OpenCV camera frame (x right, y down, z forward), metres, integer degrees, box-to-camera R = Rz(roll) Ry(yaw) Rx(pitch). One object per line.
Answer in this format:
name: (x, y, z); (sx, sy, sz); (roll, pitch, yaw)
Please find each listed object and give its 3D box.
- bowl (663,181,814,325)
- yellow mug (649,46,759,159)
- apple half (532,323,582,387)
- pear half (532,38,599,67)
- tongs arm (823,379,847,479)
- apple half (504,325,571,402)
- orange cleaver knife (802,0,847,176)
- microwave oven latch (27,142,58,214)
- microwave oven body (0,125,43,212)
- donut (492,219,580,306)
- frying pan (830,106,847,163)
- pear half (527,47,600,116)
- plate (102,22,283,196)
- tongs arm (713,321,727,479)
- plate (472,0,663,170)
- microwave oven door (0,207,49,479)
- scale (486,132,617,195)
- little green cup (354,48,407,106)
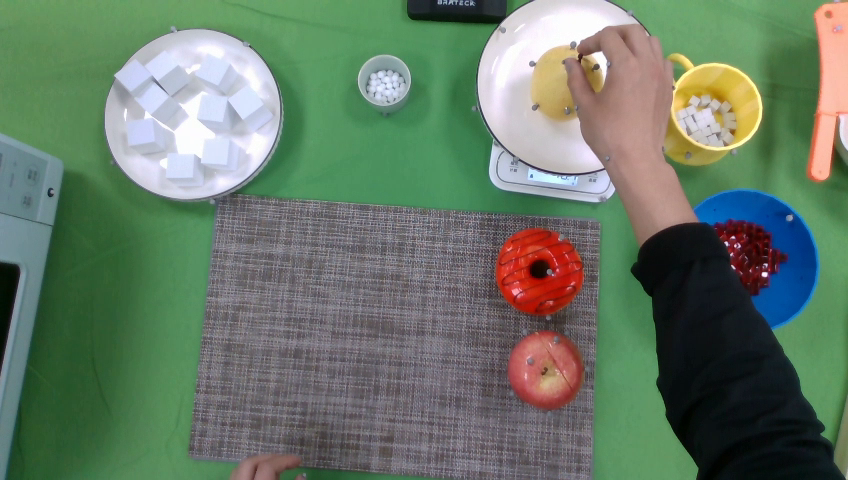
bowl: (0.327, 0.017, 0.661); (0.151, 0.077, 0.151); (0, 84, 2)
yellow mug: (0.306, -0.162, 0.687); (0.100, 0.064, 0.130); (-28, 83, -1)
apple half: (0.148, 0.116, 0.651); (0.033, 0.081, 0.081); (-34, 83, 1)
pear half: (0.150, -0.198, 0.645); (0.070, 0.088, 0.031); (0, 84, 4)
tongs arm: (0.420, 0.292, 0.651); (0.028, 0.028, 0.387); (20, 85, -3)
apple half: (0.114, 0.138, 0.650); (0.053, 0.075, 0.080); (-32, 85, 1)
orange cleaver knife: (0.446, -0.169, 0.648); (0.077, 0.012, 0.211); (9, 84, 5)
microwave oven latch: (-0.441, -0.071, 0.689); (0.030, 0.029, 0.079); (9, 84, 2)
microwave oven body: (-0.613, 0.075, 0.579); (0.326, 0.261, 0.440); (7, 84, 2)
donut: (0.124, 0.025, 0.678); (0.099, 0.048, 0.099); (0, 84, 4)
frying pan: (0.623, -0.075, 0.651); (0.307, 0.103, 0.485); (-23, 76, 0)
pear half: (0.147, -0.164, 0.631); (0.076, 0.110, 0.056); (1, 82, 5)
plate: (-0.267, -0.151, 0.713); (0.207, 0.039, 0.207); (0, 83, 1)
tongs arm: (0.336, 0.278, 0.653); (0.051, 0.026, 0.384); (5, 85, -1)
plate: (0.158, -0.177, 0.677); (0.209, 0.038, 0.208); (0, 84, 1)
microwave oven door: (-0.473, 0.133, 0.565); (0.039, 0.244, 0.355); (6, 83, 3)
scale: (0.157, -0.159, 0.708); (0.148, 0.031, 0.200); (8, 84, 2)
little green cup: (-0.049, -0.189, 0.713); (0.061, 0.039, 0.061); (0, 83, 2)
